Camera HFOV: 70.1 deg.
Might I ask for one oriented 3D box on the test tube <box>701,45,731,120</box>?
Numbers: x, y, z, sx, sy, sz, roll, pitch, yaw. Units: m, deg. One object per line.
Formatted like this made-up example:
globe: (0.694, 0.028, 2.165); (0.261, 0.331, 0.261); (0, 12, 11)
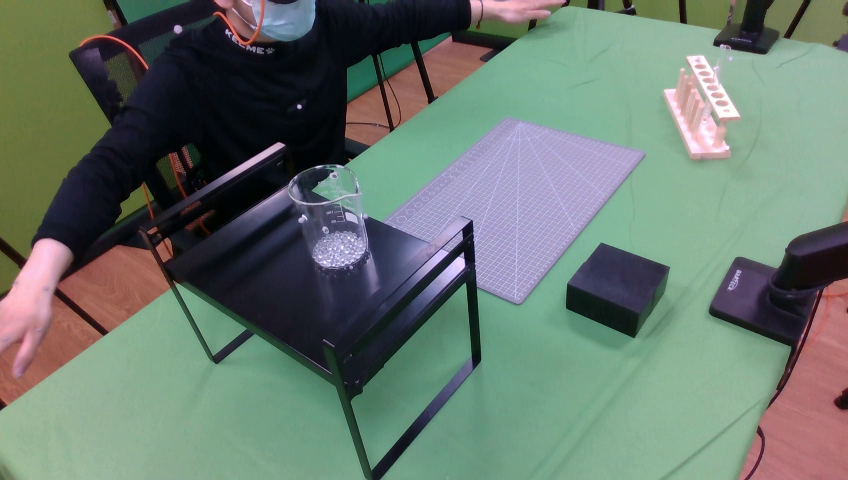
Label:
test tube: (0.527, -0.281, 1.095); (0.017, 0.151, 0.017); (-3, 46, 3)

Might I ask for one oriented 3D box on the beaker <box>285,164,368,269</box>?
beaker: (-0.102, -0.024, 0.676); (0.083, 0.101, 0.074); (8, 43, 17)

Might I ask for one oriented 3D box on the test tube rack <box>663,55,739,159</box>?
test tube rack: (0.517, -0.256, 1.144); (0.066, 0.085, 0.241); (-1, 41, 8)
